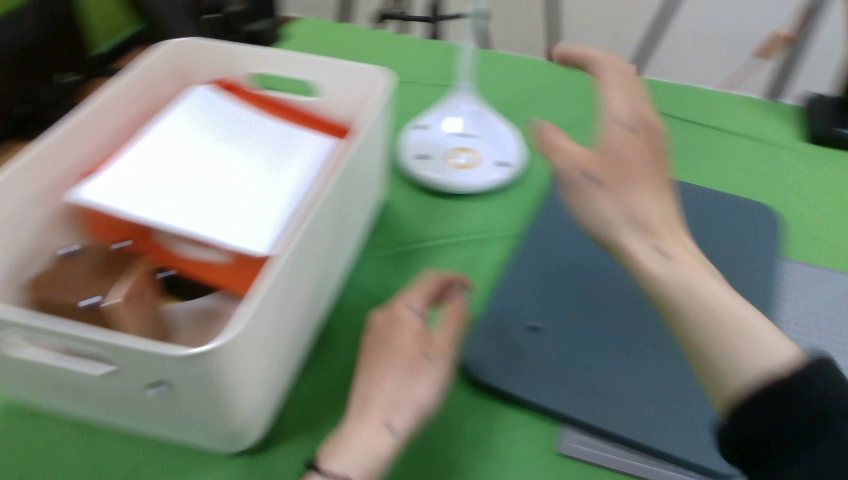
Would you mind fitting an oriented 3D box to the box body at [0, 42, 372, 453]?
[{"bbox_3d":[-0.211,-0.015,0.556,0.254,0.162,0.361,10,45,8],"label":"box body"}]

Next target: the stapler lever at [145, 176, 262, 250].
[{"bbox_3d":[-0.199,-0.031,0.550,0.117,0.040,0.027,30,37,11],"label":"stapler lever"}]

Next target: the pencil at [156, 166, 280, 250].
[{"bbox_3d":[-0.204,-0.033,0.590,0.192,0.012,0.012,29,51,28],"label":"pencil"}]

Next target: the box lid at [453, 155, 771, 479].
[{"bbox_3d":[0.209,0.042,0.620,0.262,0.015,0.369,17,46,16],"label":"box lid"}]

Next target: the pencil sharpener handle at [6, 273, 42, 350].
[{"bbox_3d":[-0.324,0.057,0.491,0.030,0.068,0.036,4,12,3],"label":"pencil sharpener handle"}]

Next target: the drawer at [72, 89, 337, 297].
[{"bbox_3d":[-0.182,-0.050,0.588,0.194,0.074,0.210,19,38,-1],"label":"drawer"}]

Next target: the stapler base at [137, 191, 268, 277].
[{"bbox_3d":[-0.204,-0.012,0.565,0.130,0.024,0.041,29,36,12],"label":"stapler base"}]

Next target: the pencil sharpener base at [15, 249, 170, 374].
[{"bbox_3d":[-0.272,0.065,0.505,0.076,0.108,0.061,4,45,3],"label":"pencil sharpener base"}]

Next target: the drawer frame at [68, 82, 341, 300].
[{"bbox_3d":[-0.183,-0.052,0.591,0.202,0.083,0.212,19,37,-1],"label":"drawer frame"}]

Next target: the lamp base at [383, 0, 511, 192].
[{"bbox_3d":[0.028,-0.177,0.716,0.161,0.182,0.177,-4,42,-6],"label":"lamp base"}]
